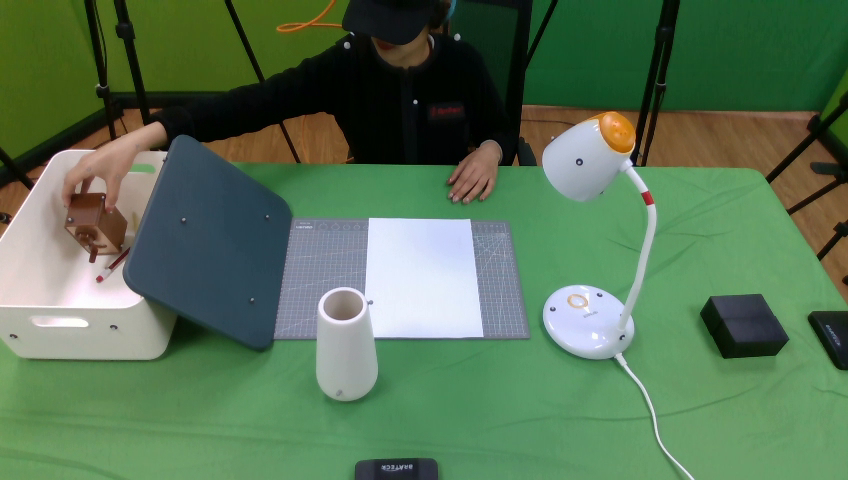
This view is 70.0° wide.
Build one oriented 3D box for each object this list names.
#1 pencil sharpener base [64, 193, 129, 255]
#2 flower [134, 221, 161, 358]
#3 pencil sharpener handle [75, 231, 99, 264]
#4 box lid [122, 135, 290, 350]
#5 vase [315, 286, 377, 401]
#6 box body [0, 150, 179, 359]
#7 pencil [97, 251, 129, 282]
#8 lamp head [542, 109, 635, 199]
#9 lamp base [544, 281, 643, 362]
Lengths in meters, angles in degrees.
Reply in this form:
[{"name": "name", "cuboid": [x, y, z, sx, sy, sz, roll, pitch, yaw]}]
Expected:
[{"name": "pencil sharpener base", "cuboid": [-0.590, -0.024, 1.097, 0.061, 0.107, 0.076, -2, 60, -2]}, {"name": "flower", "cuboid": [-0.508, 0.071, 1.093, 0.044, 0.038, 0.359, -41, 45, 8]}, {"name": "pencil sharpener handle", "cuboid": [-0.588, 0.013, 1.061, 0.036, 0.068, 0.030, -1, 60, -6]}, {"name": "box lid", "cuboid": [-0.355, -0.006, 1.059, 0.015, 0.265, 0.369, -33, 39, 27]}, {"name": "vase", "cuboid": [-0.119, 0.159, 0.911, 0.098, 0.201, 0.097, 2, 47, -2]}, {"name": "box body", "cuboid": [-0.541, 0.021, 1.042, 0.254, 0.161, 0.361, 1, 46, -3]}, {"name": "pencil", "cuboid": [-0.540, 0.011, 1.143, 0.012, 0.012, 0.193, 21, 50, 16]}, {"name": "lamp head", "cuboid": [0.253, -0.131, 0.893, 0.113, 0.123, 0.112, 10, 66, -24]}, {"name": "lamp base", "cuboid": [0.303, 0.095, 1.014, 0.161, 0.181, 0.178, -24, 54, -24]}]
